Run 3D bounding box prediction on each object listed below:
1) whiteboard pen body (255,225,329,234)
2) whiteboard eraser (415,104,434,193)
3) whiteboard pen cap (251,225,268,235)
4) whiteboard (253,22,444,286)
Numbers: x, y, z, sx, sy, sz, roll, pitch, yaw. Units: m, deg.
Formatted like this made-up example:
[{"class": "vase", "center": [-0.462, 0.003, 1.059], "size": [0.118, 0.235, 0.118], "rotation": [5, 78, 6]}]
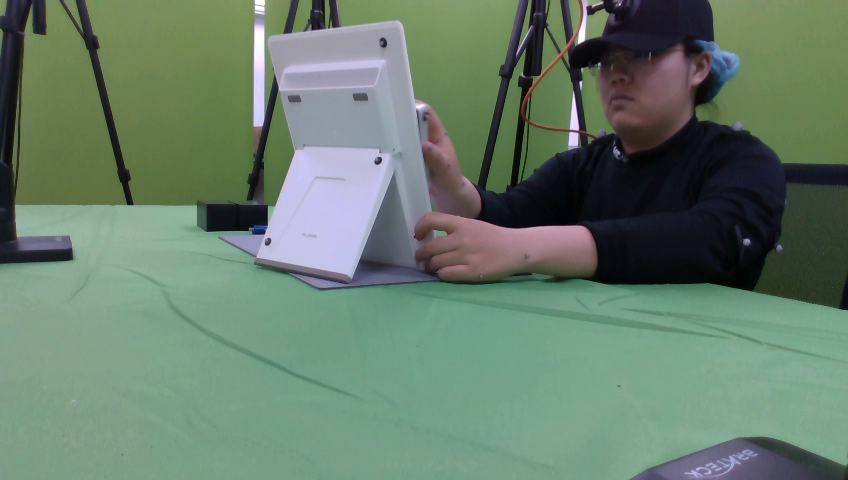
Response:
[{"class": "whiteboard pen body", "center": [-0.239, -0.019, 1.105], "size": [0.141, 0.017, 0.017], "rotation": [-2, 9, -33]}, {"class": "whiteboard eraser", "center": [-0.019, -0.109, 0.734], "size": [0.055, 0.113, 0.042], "rotation": [18, 36, 31]}, {"class": "whiteboard pen cap", "center": [-0.288, -0.018, 1.072], "size": [0.033, 0.018, 0.018], "rotation": [-3, 9, -34]}, {"class": "whiteboard", "center": [-0.125, -0.080, 0.715], "size": [0.216, 0.305, 0.144], "rotation": [9, 29, 36]}]
